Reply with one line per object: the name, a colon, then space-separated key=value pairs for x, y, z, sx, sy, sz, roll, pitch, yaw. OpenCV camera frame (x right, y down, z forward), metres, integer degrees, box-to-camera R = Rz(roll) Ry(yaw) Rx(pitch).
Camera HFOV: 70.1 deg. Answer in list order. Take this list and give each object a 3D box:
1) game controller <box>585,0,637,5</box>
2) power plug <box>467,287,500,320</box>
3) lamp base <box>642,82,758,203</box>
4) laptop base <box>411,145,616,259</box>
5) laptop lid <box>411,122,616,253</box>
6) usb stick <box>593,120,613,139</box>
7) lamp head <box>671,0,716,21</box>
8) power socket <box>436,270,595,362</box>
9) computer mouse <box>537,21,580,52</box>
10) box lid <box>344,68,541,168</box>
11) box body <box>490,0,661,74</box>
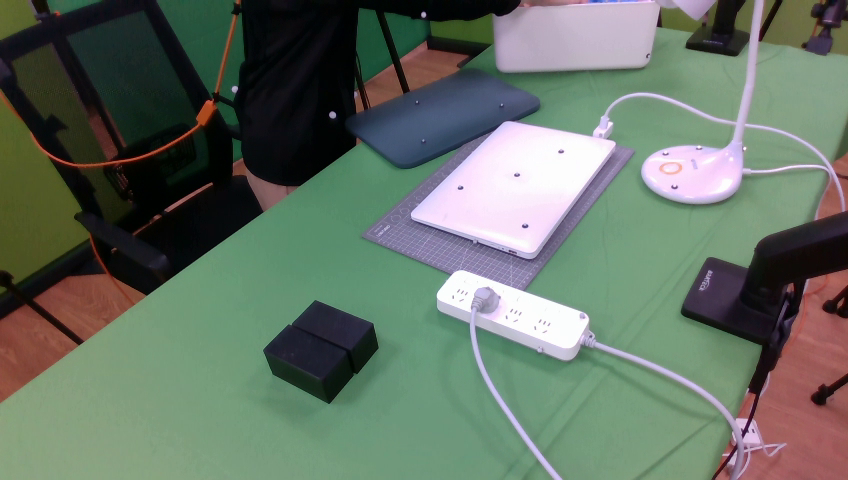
game controller: x=0.426 y=-0.548 z=1.425 sx=0.155 sy=0.052 sz=0.096 roll=-16 pitch=45 yaw=-10
power plug: x=0.073 y=0.092 z=0.814 sx=0.035 sy=0.053 sz=0.073 roll=29 pitch=54 yaw=34
lamp base: x=0.464 y=-0.174 z=0.992 sx=0.179 sy=0.181 sz=0.159 roll=-5 pitch=41 yaw=-2
laptop base: x=0.168 y=-0.101 z=1.074 sx=0.234 sy=0.023 sz=0.355 roll=17 pitch=46 yaw=30
laptop lid: x=0.164 y=-0.111 z=1.067 sx=0.240 sy=0.013 sz=0.357 roll=19 pitch=46 yaw=31
usb stick: x=0.336 y=-0.201 z=1.147 sx=0.021 sy=0.027 sz=0.059 roll=26 pitch=53 yaw=27
lamp head: x=0.375 y=-0.373 z=0.807 sx=0.122 sy=0.113 sz=0.112 roll=-40 pitch=27 yaw=32
power socket: x=0.118 y=0.101 z=0.832 sx=0.225 sy=0.033 sz=0.072 roll=19 pitch=48 yaw=27
computer mouse: x=0.335 y=-0.503 z=1.488 sx=0.118 sy=0.041 sz=0.062 roll=21 pitch=21 yaw=-28
box lid: x=0.040 y=-0.272 z=1.300 sx=0.373 sy=0.015 sz=0.261 roll=-28 pitch=44 yaw=-22
box body: x=0.346 y=-0.520 z=1.429 sx=0.363 sy=0.161 sz=0.253 roll=0 pitch=41 yaw=9
